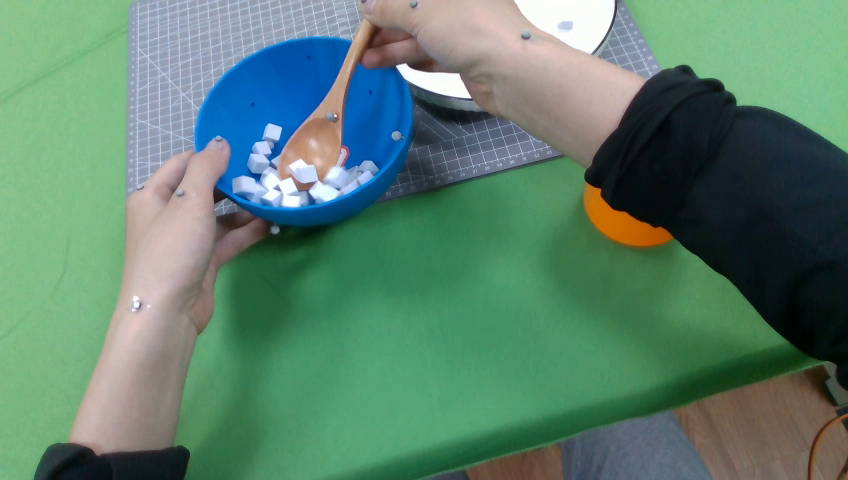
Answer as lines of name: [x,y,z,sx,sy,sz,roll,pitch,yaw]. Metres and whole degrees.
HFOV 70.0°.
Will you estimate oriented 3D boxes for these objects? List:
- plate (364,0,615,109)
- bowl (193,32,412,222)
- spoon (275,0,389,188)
plate: [0.053,-0.192,0.518,0.209,0.038,0.207,-3,64,6]
bowl: [-0.079,-0.068,0.443,0.151,0.077,0.150,-3,62,5]
spoon: [-0.047,-0.122,0.406,0.041,0.022,0.194,31,100,17]
